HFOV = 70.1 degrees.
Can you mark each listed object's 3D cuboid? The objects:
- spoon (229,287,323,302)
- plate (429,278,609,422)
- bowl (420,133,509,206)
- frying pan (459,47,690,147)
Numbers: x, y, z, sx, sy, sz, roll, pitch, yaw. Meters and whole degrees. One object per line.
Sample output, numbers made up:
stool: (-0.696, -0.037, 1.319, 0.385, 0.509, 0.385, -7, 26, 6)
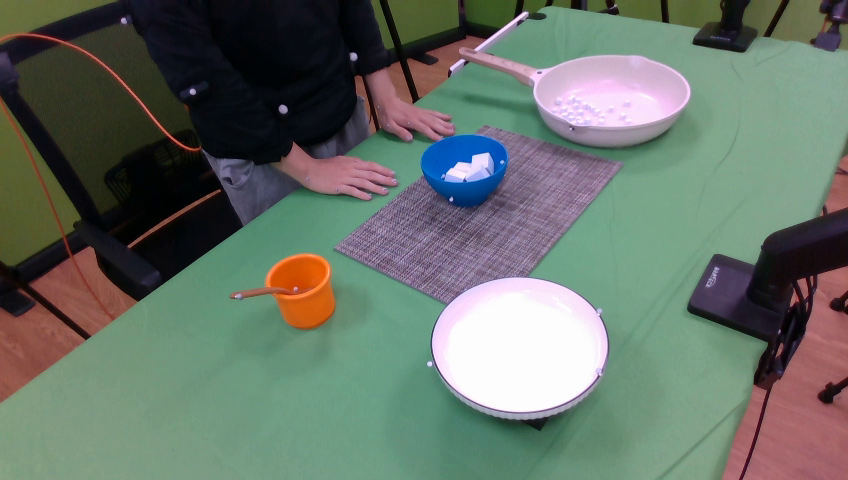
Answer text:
spoon: (-0.198, 0.071, 0.817, 0.041, 0.195, 0.021, 13, 88, 23)
plate: (0.111, 0.129, 0.716, 0.207, 0.039, 0.206, -5, 39, 4)
bowl: (0.071, -0.112, 1.038, 0.151, 0.077, 0.150, -4, 40, 4)
frying pan: (0.280, -0.317, 1.234, 0.485, 0.103, 0.307, 28, 50, 23)
